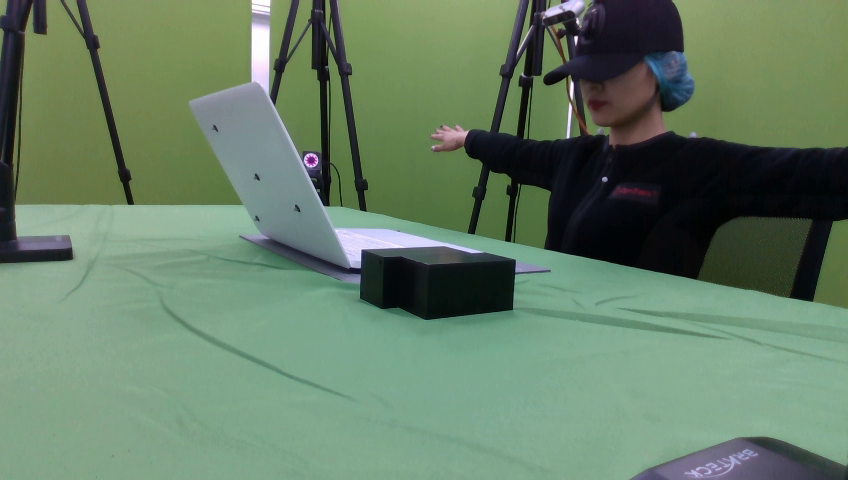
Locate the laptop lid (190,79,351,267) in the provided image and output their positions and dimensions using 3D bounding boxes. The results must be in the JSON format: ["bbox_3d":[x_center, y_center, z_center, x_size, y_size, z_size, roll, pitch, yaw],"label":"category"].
[{"bbox_3d":[-0.220,-0.087,0.809,0.013,0.242,0.355,-34,25,-24],"label":"laptop lid"}]

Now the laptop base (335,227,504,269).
[{"bbox_3d":[-0.077,0.009,0.914,0.237,0.023,0.352,1,7,-33],"label":"laptop base"}]
